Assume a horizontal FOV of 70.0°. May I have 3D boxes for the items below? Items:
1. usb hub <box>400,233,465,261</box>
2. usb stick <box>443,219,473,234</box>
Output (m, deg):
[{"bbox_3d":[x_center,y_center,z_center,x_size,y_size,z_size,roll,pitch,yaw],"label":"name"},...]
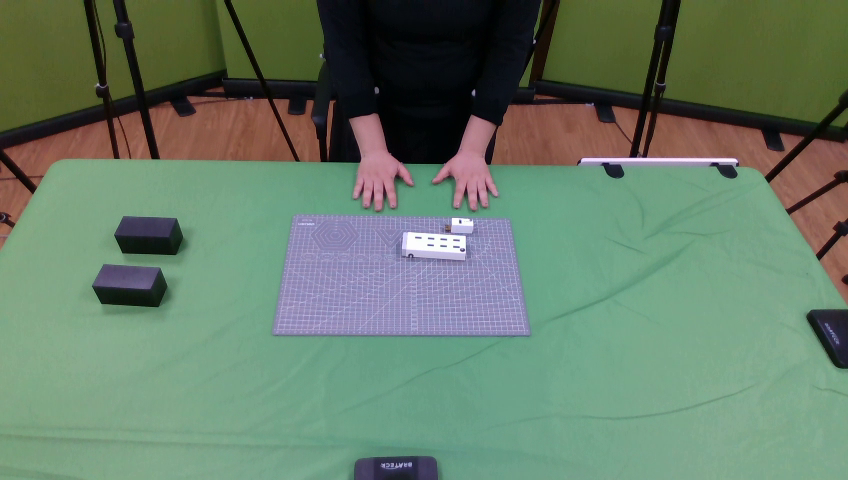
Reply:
[{"bbox_3d":[0.018,0.013,1.180,0.125,0.025,0.049,4,46,0],"label":"usb hub"},{"bbox_3d":[0.068,-0.028,1.223,0.059,0.027,0.021,1,45,0],"label":"usb stick"}]
